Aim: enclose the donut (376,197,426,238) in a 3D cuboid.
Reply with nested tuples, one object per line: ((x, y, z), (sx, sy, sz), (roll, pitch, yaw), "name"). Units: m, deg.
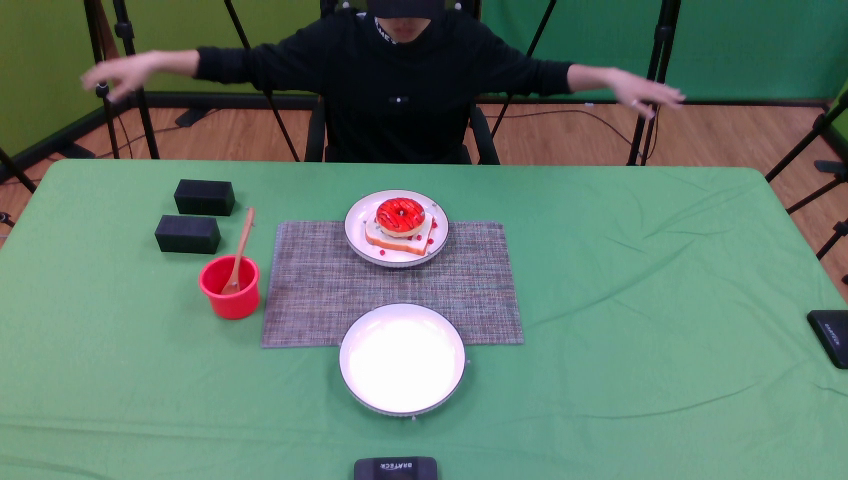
((-0.045, -0.046, 1.174), (0.099, 0.048, 0.098), (3, 45, -3), "donut")

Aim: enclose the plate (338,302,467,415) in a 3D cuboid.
((-0.035, 0.194, 0.992), (0.208, 0.039, 0.206), (2, 48, -2), "plate")

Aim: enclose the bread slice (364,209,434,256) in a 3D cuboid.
((-0.053, -0.020, 1.199), (0.131, 0.019, 0.104), (10, 46, 4), "bread slice")

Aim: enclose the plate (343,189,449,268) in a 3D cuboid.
((-0.055, -0.020, 1.195), (0.209, 0.038, 0.208), (2, 46, -2), "plate")

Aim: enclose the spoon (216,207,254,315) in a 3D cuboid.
((-0.322, 0.036, 1.053), (0.041, 0.021, 0.193), (14, 90, 11), "spoon")
